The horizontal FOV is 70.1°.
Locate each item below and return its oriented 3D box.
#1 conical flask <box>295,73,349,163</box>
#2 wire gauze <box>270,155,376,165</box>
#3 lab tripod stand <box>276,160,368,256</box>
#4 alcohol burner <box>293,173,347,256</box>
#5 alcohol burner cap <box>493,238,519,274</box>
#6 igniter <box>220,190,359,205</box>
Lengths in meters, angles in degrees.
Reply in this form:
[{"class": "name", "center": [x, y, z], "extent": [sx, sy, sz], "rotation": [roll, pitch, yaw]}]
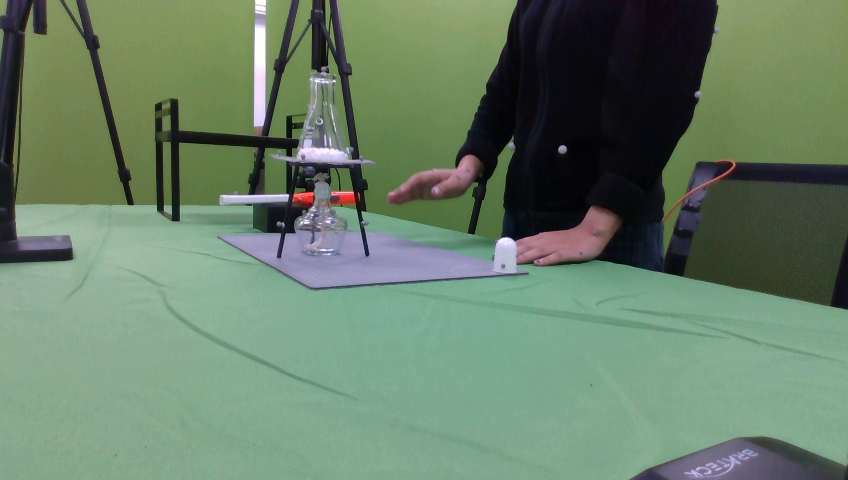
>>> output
[{"class": "conical flask", "center": [-0.143, -0.170, 0.851], "extent": [0.075, 0.122, 0.075], "rotation": [2, 9, 0]}, {"class": "wire gauze", "center": [-0.146, -0.112, 0.860], "extent": [0.122, 0.011, 0.124], "rotation": [0, 6, -29]}, {"class": "lab tripod stand", "center": [-0.149, -0.046, 0.861], "extent": [0.148, 0.131, 0.148], "rotation": [3, 9, 0]}, {"class": "alcohol burner", "center": [-0.148, -0.037, 0.868], "extent": [0.078, 0.119, 0.078], "rotation": [4, 9, 0]}, {"class": "alcohol burner cap", "center": [0.107, 0.021, 0.785], "extent": [0.034, 0.048, 0.034], "rotation": [0, 8, 0]}, {"class": "igniter", "center": [-0.247, -0.081, 1.158], "extent": [0.278, 0.025, 0.057], "rotation": [-5, 7, -33]}]
